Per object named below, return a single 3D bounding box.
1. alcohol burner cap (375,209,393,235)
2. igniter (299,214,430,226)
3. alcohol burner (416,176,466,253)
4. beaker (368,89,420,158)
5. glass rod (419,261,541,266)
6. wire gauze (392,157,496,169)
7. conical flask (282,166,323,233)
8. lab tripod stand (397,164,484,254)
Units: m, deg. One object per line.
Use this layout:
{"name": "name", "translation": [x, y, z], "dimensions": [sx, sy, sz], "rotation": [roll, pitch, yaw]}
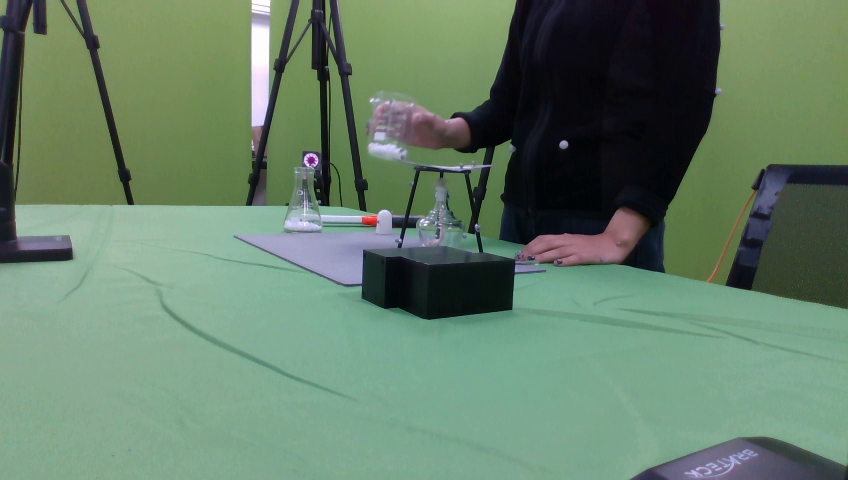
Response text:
{"name": "alcohol burner cap", "translation": [-0.075, -0.035, 1.150], "dimensions": [0.034, 0.048, 0.034], "rotation": [3, 7, 0]}
{"name": "igniter", "translation": [-0.123, -0.044, 1.281], "dimensions": [0.278, 0.025, 0.057], "rotation": [0, -2, -19]}
{"name": "alcohol burner", "translation": [0.027, -0.039, 0.934], "dimensions": [0.078, 0.119, 0.078], "rotation": [2, 9, 0]}
{"name": "beaker", "translation": [-0.054, -0.190, 0.997], "dimensions": [0.084, 0.100, 0.074], "rotation": [8, 0, 11]}
{"name": "glass rod", "translation": [0.080, 0.032, 0.808], "dimensions": [0.201, 0.008, 0.008], "rotation": [1, 6, -32]}
{"name": "wire gauze", "translation": [0.032, -0.116, 0.924], "dimensions": [0.124, 0.011, 0.122], "rotation": [8, 8, 32]}
{"name": "conical flask", "translation": [-0.225, -0.076, 1.130], "dimensions": [0.075, 0.122, 0.075], "rotation": [2, 8, 0]}
{"name": "lab tripod stand", "translation": [0.029, -0.049, 0.930], "dimensions": [0.148, 0.131, 0.148], "rotation": [4, 6, 0]}
